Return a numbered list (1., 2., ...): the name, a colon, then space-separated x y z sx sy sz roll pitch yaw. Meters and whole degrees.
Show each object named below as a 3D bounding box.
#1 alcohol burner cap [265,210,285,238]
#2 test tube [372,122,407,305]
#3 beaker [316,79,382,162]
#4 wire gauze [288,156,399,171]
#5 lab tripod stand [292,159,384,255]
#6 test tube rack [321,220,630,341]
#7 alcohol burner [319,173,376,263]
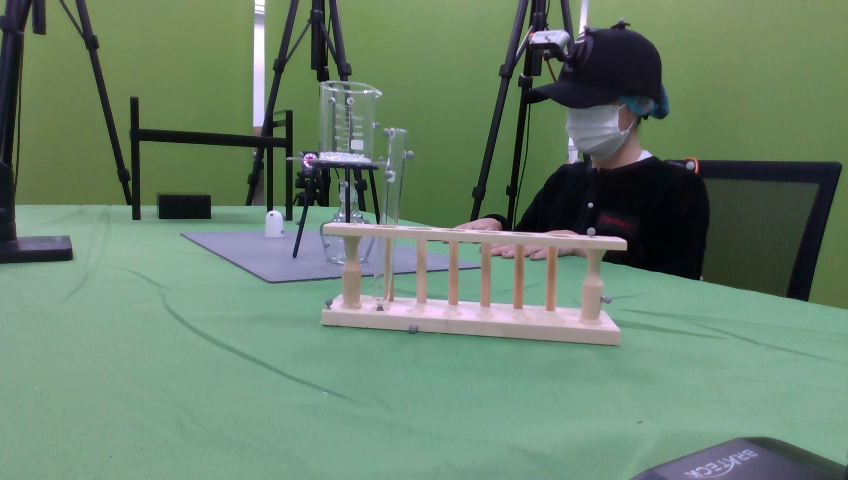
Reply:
1. alcohol burner cap: -0.253 -0.027 1.027 0.034 0.048 0.034 2 8 0
2. test tube: -0.029 -0.020 0.493 0.017 0.150 0.017 6 9 -1
3. beaker: -0.098 -0.151 0.778 0.084 0.100 0.074 4 7 6
4. wire gauze: -0.101 -0.103 0.788 0.121 0.011 0.125 6 4 5
5. lab tripod stand: -0.105 -0.039 0.797 0.148 0.131 0.148 2 5 0
6. test tube rack: 0.041 0.029 0.512 0.242 0.085 0.067 3 7 5
7. alcohol burner: -0.101 -0.030 0.804 0.078 0.119 0.078 1 6 0
